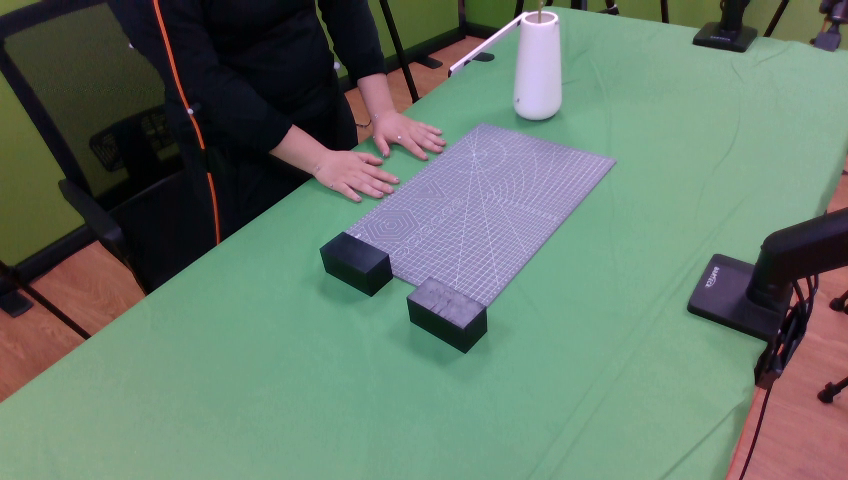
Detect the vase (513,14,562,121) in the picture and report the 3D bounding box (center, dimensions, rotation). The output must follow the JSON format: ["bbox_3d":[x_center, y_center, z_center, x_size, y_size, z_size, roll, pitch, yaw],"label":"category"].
[{"bbox_3d":[0.225,-0.336,1.196,0.098,0.201,0.097,-5,42,5],"label":"vase"}]

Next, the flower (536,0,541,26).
[{"bbox_3d":[0.214,-0.385,1.130,0.044,0.363,0.038,12,62,15],"label":"flower"}]
